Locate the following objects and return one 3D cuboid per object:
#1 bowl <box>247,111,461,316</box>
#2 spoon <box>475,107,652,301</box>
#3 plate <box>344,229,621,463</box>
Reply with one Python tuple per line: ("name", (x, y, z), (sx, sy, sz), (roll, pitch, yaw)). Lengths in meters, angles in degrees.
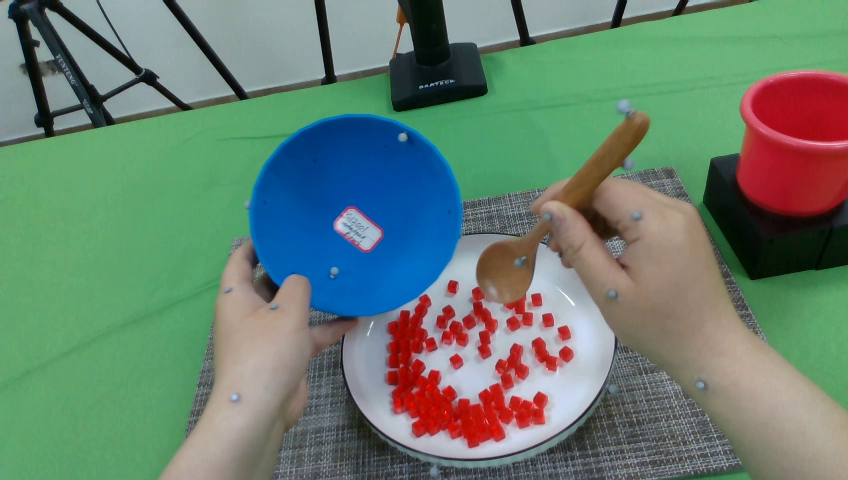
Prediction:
("bowl", (-0.050, -0.012, 0.462), (0.151, 0.077, 0.150), (1, 77, -3))
("spoon", (0.070, -0.010, 0.343), (0.021, 0.194, 0.041), (-31, 76, -25))
("plate", (0.043, 0.077, 0.470), (0.207, 0.039, 0.205), (-7, 45, 7))
